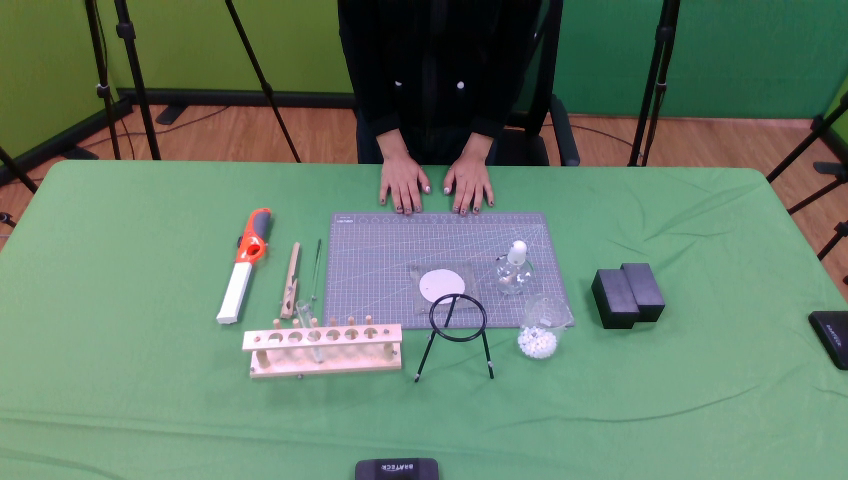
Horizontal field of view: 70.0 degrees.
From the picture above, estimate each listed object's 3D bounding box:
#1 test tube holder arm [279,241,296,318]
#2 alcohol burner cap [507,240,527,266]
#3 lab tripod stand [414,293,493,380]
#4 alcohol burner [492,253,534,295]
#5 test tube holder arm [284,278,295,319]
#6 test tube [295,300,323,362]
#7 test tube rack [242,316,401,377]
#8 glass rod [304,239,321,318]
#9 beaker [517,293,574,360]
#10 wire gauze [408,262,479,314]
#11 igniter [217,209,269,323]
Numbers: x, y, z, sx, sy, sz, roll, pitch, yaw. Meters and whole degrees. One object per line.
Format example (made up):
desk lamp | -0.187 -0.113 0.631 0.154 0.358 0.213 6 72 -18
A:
test tube holder arm | -0.250 0.068 1.113 0.013 0.015 0.177 27 37 -30
alcohol burner cap | 0.167 0.021 1.075 0.034 0.048 0.033 0 55 -1
lab tripod stand | 0.052 0.159 0.972 0.148 0.132 0.147 4 46 -4
alcohol burner | 0.165 0.045 1.103 0.078 0.119 0.077 3 47 -3
test tube holder arm | -0.242 0.103 1.085 0.010 0.015 0.087 28 37 -29
test tube | -0.176 0.143 0.935 0.017 0.151 0.017 -2 46 2
test tube rack | -0.161 0.166 0.983 0.242 0.085 0.066 -2 46 -6
glass rod | -0.207 0.068 1.128 0.008 0.008 0.198 2 43 -2
beaker | 0.200 0.149 1.019 0.084 0.101 0.073 14 47 8
wire gauze | 0.036 0.085 1.127 0.121 0.011 0.124 -3 43 -6
igniter | -0.335 0.039 1.132 0.057 0.025 0.275 -3 46 6
